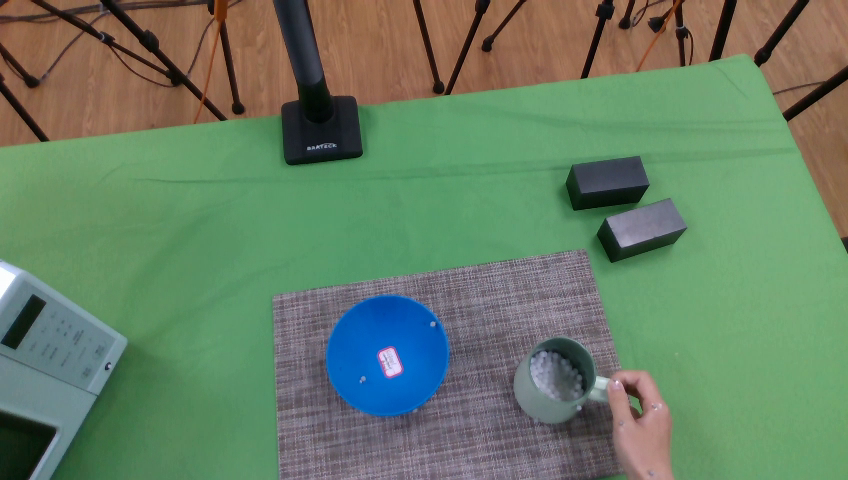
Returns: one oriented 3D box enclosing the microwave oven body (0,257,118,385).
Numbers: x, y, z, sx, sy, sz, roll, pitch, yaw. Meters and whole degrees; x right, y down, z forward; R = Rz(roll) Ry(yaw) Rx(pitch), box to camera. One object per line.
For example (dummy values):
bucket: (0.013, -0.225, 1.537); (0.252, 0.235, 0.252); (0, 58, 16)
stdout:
microwave oven body: (-0.612, 0.211, 0.634); (0.325, 0.262, 0.439); (18, 67, 8)

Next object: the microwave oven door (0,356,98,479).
microwave oven door: (-0.488, 0.288, 0.592); (0.039, 0.245, 0.354); (17, 66, 9)

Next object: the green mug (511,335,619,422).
green mug: (0.173, 0.172, 0.738); (0.125, 0.106, 0.092); (11, 64, 5)

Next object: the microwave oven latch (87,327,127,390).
microwave oven latch: (-0.411, 0.148, 0.772); (0.030, 0.030, 0.079); (19, 67, 9)

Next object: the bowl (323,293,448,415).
bowl: (-0.046, 0.151, 0.763); (0.151, 0.077, 0.150); (0, 64, 0)
